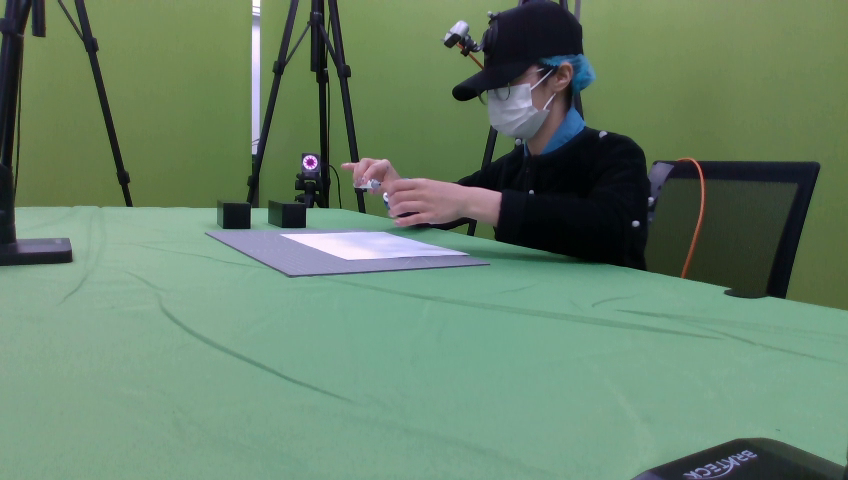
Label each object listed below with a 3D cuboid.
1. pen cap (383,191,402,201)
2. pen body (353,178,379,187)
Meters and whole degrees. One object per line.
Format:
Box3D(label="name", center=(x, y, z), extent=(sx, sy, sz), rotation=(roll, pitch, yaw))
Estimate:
Box3D(label="pen cap", center=(-0.050, -0.072, 0.985), extent=(0.017, 0.017, 0.038), rotation=(-3, 7, -36))
Box3D(label="pen body", center=(-0.107, -0.105, 1.124), extent=(0.017, 0.017, 0.143), rotation=(-1, 4, -22))
